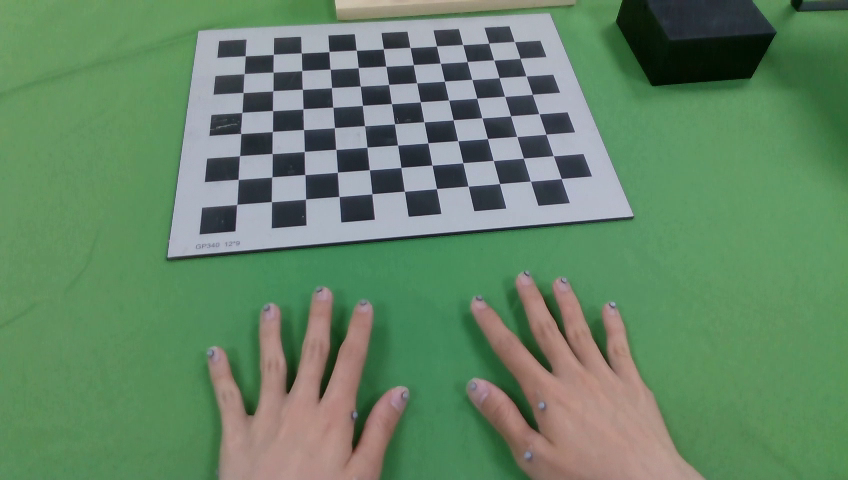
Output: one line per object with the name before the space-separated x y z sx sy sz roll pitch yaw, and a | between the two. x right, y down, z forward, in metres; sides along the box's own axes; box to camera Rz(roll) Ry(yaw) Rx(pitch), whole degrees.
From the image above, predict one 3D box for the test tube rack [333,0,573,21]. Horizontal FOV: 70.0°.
test tube rack | 0.029 -0.279 0.591 0.243 0.086 0.066 -7 55 -7
